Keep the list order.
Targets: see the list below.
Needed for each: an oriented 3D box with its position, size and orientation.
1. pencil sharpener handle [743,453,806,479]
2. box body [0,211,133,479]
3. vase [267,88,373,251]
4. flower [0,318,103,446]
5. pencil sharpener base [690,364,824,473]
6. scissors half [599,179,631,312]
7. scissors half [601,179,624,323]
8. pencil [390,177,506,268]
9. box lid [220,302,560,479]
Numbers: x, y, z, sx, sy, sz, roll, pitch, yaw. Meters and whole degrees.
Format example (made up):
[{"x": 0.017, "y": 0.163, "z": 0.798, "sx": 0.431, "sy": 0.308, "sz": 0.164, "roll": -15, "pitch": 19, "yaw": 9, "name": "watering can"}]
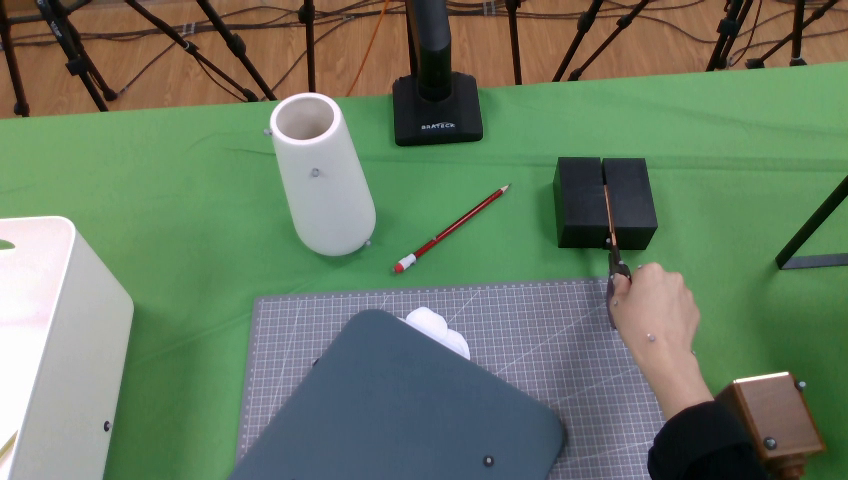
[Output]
[{"x": 0.306, "y": 0.208, "z": 0.525, "sx": 0.036, "sy": 0.068, "sz": 0.030, "roll": 0, "pitch": 58, "yaw": -15, "name": "pencil sharpener handle"}, {"x": -0.440, "y": 0.172, "z": 0.552, "sx": 0.254, "sy": 0.162, "sz": 0.360, "roll": -5, "pitch": 59, "yaw": -1, "name": "box body"}, {"x": -0.114, "y": -0.072, "z": 0.667, "sx": 0.098, "sy": 0.202, "sz": 0.097, "roll": -1, "pitch": 58, "yaw": 3, "name": "vase"}, {"x": -0.443, "y": 0.211, "z": 0.629, "sx": 0.038, "sy": 0.044, "sz": 0.359, "roll": -13, "pitch": 34, "yaw": 23, "name": "flower"}, {"x": 0.303, "y": 0.171, "z": 0.561, "sx": 0.061, "sy": 0.108, "sz": 0.076, "roll": -7, "pitch": 59, "yaw": -3, "name": "pencil sharpener base"}, {"x": 0.207, "y": -0.001, "z": 0.667, "sx": 0.013, "sy": 0.040, "sz": 0.173, "roll": -1, "pitch": 53, "yaw": 2, "name": "scissors half"}, {"x": 0.208, "y": 0.009, "z": 0.685, "sx": 0.013, "sy": 0.040, "sz": 0.174, "roll": 2, "pitch": 70, "yaw": -2, "name": "scissors half"}, {"x": 0.034, "y": -0.025, "z": 0.745, "sx": 0.194, "sy": 0.012, "sz": 0.012, "roll": -38, "pitch": 64, "yaw": -21, "name": "pencil"}, {"x": -0.058, "y": 0.252, "z": 0.579, "sx": 0.262, "sy": 0.015, "sz": 0.370, "roll": 28, "pitch": 65, "yaw": 17, "name": "box lid"}]
